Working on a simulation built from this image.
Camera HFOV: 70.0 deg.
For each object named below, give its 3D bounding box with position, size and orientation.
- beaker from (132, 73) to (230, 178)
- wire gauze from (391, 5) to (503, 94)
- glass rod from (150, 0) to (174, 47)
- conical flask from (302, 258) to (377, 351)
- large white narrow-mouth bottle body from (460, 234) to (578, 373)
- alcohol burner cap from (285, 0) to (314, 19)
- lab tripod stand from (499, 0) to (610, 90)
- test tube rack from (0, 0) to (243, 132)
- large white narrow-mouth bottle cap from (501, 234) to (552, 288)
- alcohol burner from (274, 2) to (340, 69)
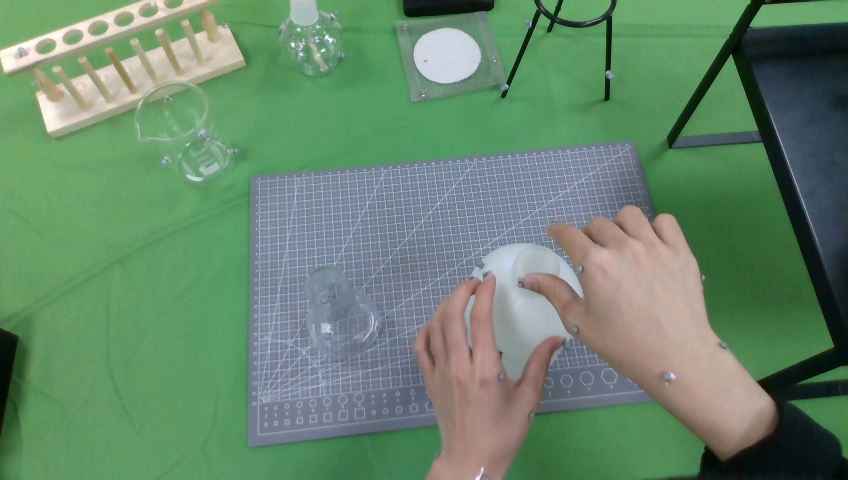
[{"bbox_3d":[-0.261,-0.118,0.661,0.073,0.101,0.084,39,72,15],"label":"beaker"},{"bbox_3d":[0.028,-0.245,0.765,0.121,0.011,0.124,-10,67,-6],"label":"wire gauze"},{"bbox_3d":[-0.306,-0.284,0.666,0.008,0.201,0.008,2,65,-4],"label":"glass rod"},{"bbox_3d":[-0.086,0.056,0.573,0.075,0.123,0.075,0,67,0],"label":"conical flask"},{"bbox_3d":[0.083,0.052,0.538,0.102,0.196,0.101,-1,66,2],"label":"large white narrow-mouth bottle body"},{"bbox_3d":[-0.141,-0.277,0.681,0.034,0.048,0.033,4,65,-8],"label":"alcohol burner cap"},{"bbox_3d":[0.159,-0.244,0.697,0.148,0.132,0.147,1,66,-2],"label":"lab tripod stand"},{"bbox_3d":[-0.350,-0.220,0.711,0.242,0.086,0.066,-25,69,-10],"label":"test tube rack"},{"bbox_3d":[0.078,0.016,0.458,0.038,0.024,0.037,-1,67,2],"label":"large white narrow-mouth bottle cap"},{"bbox_3d":[-0.140,-0.261,0.714,0.078,0.120,0.077,0,65,-1],"label":"alcohol burner"}]
